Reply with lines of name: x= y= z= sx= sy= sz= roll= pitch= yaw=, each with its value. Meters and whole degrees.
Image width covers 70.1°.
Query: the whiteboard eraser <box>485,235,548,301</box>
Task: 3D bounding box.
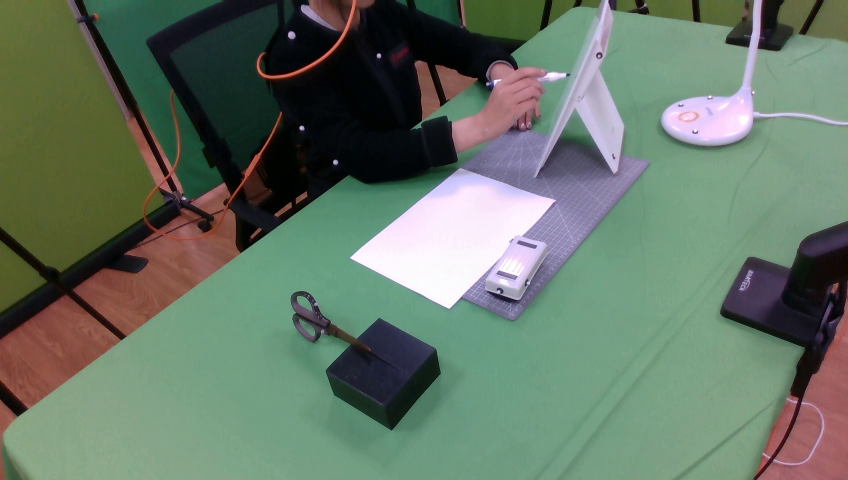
whiteboard eraser: x=0.137 y=0.042 z=0.887 sx=0.055 sy=0.042 sz=0.113 roll=15 pitch=46 yaw=27

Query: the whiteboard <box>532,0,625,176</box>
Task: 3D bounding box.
whiteboard: x=0.320 y=-0.258 z=1.050 sx=0.144 sy=0.306 sz=0.217 roll=21 pitch=45 yaw=5

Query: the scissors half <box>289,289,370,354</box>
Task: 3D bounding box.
scissors half: x=-0.128 y=0.110 z=0.809 sx=0.013 sy=0.040 sz=0.173 roll=-17 pitch=36 yaw=-43

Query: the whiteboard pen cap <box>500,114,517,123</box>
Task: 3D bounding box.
whiteboard pen cap: x=0.171 y=-0.244 z=1.222 sx=0.033 sy=0.018 sz=0.018 roll=-10 pitch=38 yaw=-25

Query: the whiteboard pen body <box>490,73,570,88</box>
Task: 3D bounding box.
whiteboard pen body: x=0.188 y=-0.285 z=1.077 sx=0.140 sy=0.017 sz=0.017 roll=-4 pitch=40 yaw=11

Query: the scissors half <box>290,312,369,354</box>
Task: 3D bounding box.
scissors half: x=-0.128 y=0.129 z=0.816 sx=0.013 sy=0.040 sz=0.173 roll=-23 pitch=21 yaw=-40

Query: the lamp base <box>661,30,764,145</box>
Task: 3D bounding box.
lamp base: x=0.535 y=-0.287 z=1.096 sx=0.179 sy=0.181 sz=0.159 roll=-10 pitch=40 yaw=-4
